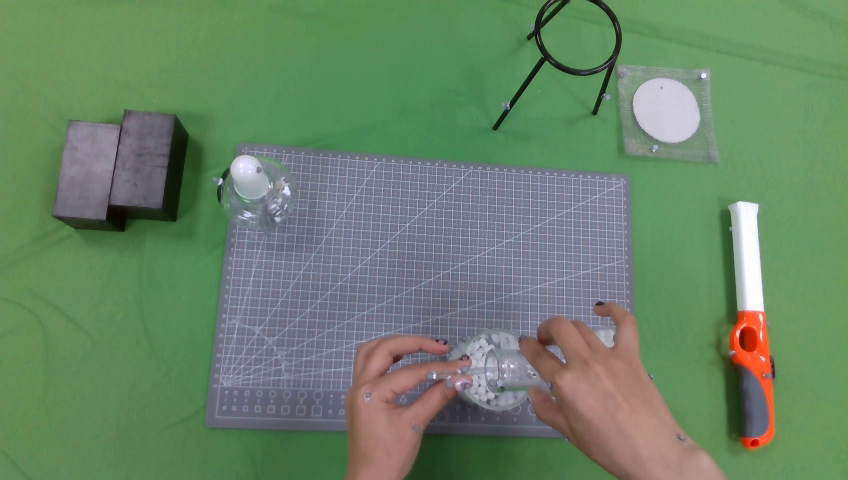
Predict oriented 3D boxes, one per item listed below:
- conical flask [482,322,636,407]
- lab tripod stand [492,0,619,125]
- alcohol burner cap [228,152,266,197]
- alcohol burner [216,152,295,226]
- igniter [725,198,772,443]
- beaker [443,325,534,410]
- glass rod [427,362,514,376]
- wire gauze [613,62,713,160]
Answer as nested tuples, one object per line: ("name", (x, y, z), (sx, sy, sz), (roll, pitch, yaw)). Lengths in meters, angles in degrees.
("conical flask", (0.113, 0.109, 0.525), (0.122, 0.075, 0.075), (2, 78, -15))
("lab tripod stand", (0.142, -0.193, 0.662), (0.149, 0.131, 0.148), (1, 80, -7))
("alcohol burner cap", (-0.166, -0.064, 0.565), (0.034, 0.048, 0.033), (3, 71, -8))
("alcohol burner", (-0.170, -0.055, 0.599), (0.078, 0.119, 0.077), (1, 78, -5))
("igniter", (0.367, 0.087, 0.688), (0.057, 0.025, 0.275), (7, 78, -17))
("beaker", (0.062, 0.123, 0.602), (0.084, 0.100, 0.074), (-39, 85, -13))
("glass rod", (0.047, 0.113, 0.531), (0.008, 0.201, 0.008), (-4, 79, 25))
("wire gauze", (0.293, -0.160, 0.739), (0.125, 0.011, 0.121), (3, 79, -9))
